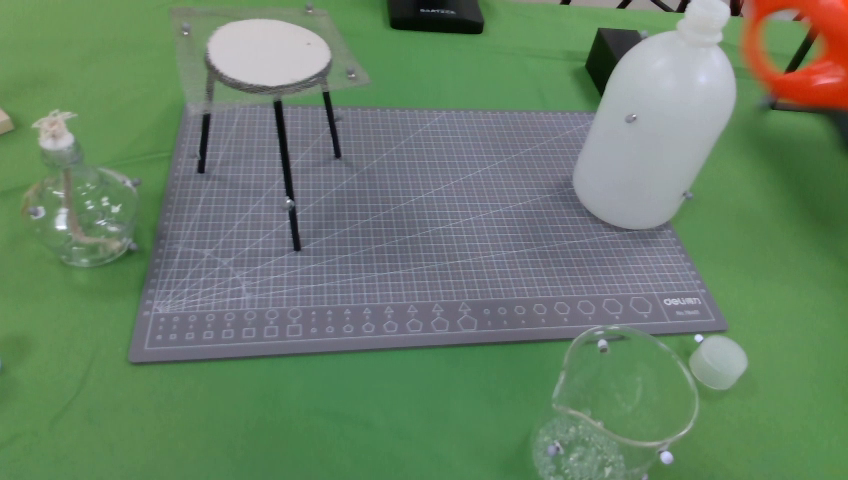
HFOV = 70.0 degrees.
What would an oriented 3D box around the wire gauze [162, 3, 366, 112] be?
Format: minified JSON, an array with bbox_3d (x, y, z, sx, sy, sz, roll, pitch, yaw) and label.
[{"bbox_3d":[-0.117,-0.139,0.434,0.122,0.011,0.123,-12,52,-21],"label":"wire gauze"}]

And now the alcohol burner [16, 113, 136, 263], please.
[{"bbox_3d":[-0.251,-0.040,0.431,0.078,0.120,0.077,6,45,-6],"label":"alcohol burner"}]

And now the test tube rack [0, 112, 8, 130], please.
[{"bbox_3d":[-0.472,-0.089,0.458,0.066,0.086,0.242,36,52,22],"label":"test tube rack"}]

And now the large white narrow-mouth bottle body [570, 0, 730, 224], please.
[{"bbox_3d":[0.196,-0.111,0.512,0.102,0.196,0.101,4,47,-4],"label":"large white narrow-mouth bottle body"}]

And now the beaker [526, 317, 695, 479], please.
[{"bbox_3d":[0.103,0.106,0.365,0.084,0.101,0.073,-11,49,-17],"label":"beaker"}]

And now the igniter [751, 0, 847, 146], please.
[{"bbox_3d":[0.159,-0.115,0.264,0.025,0.057,0.275,-24,79,-54],"label":"igniter"}]

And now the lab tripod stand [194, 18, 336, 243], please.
[{"bbox_3d":[-0.121,-0.092,0.483,0.149,0.132,0.147,6,47,-6],"label":"lab tripod stand"}]

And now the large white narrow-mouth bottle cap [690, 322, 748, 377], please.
[{"bbox_3d":[0.224,0.083,0.461,0.038,0.024,0.037,4,47,-4],"label":"large white narrow-mouth bottle cap"}]
